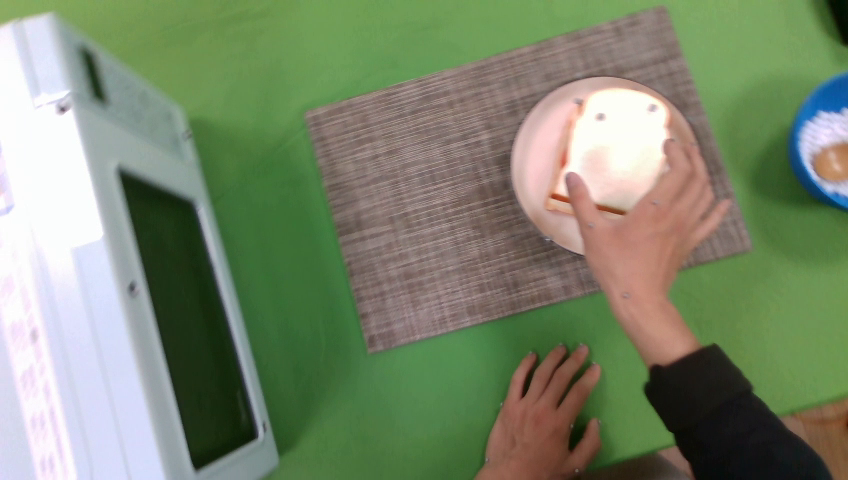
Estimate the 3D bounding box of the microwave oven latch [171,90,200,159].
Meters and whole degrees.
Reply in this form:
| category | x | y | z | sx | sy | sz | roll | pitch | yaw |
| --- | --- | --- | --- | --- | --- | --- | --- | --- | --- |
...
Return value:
| category | x | y | z | sx | sy | sz | roll | pitch | yaw |
| --- | --- | --- | --- | --- | --- | --- | --- | --- | --- |
| microwave oven latch | -0.286 | -0.130 | 0.700 | 0.030 | 0.029 | 0.079 | -17 | 84 | 1 |

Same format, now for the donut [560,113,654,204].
| category | x | y | z | sx | sy | sz | roll | pitch | yaw |
| --- | --- | --- | --- | --- | --- | --- | --- | --- | --- |
| donut | 0.197 | -0.088 | 0.653 | 0.099 | 0.048 | 0.099 | 0 | 85 | 4 |

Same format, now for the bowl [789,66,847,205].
| category | x | y | z | sx | sy | sz | roll | pitch | yaw |
| --- | --- | --- | --- | --- | --- | --- | --- | --- | --- |
| bowl | 0.458 | -0.103 | 0.651 | 0.151 | 0.077 | 0.151 | 0 | 83 | 3 |

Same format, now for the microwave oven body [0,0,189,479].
| category | x | y | z | sx | sy | sz | roll | pitch | yaw |
| --- | --- | --- | --- | --- | --- | --- | --- | --- | --- |
| microwave oven body | -0.382 | 0.070 | 0.588 | 0.326 | 0.261 | 0.440 | -17 | 84 | 1 |

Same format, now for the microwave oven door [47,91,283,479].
| category | x | y | z | sx | sy | sz | roll | pitch | yaw |
| --- | --- | --- | --- | --- | --- | --- | --- | --- | --- |
| microwave oven door | -0.230 | 0.065 | 0.574 | 0.039 | 0.244 | 0.354 | -18 | 83 | 2 |

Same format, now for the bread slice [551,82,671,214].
| category | x | y | z | sx | sy | sz | roll | pitch | yaw |
| --- | --- | --- | --- | --- | --- | --- | --- | --- | --- |
| bread slice | 0.197 | -0.100 | 0.624 | 0.104 | 0.019 | 0.131 | 14 | 81 | 11 |

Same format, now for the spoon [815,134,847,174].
| category | x | y | z | sx | sy | sz | roll | pitch | yaw |
| --- | --- | --- | --- | --- | --- | --- | --- | --- | --- |
| spoon | 0.505 | -0.115 | 0.618 | 0.193 | 0.022 | 0.041 | -21 | 77 | 23 |

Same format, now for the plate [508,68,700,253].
| category | x | y | z | sx | sy | sz | roll | pitch | yaw |
| --- | --- | --- | --- | --- | --- | --- | --- | --- | --- |
| plate | 0.198 | -0.086 | 0.681 | 0.207 | 0.039 | 0.207 | 0 | 84 | 3 |

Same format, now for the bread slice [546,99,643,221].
| category | x | y | z | sx | sy | sz | roll | pitch | yaw |
| --- | --- | --- | --- | --- | --- | --- | --- | --- | --- |
| bread slice | 0.199 | -0.094 | 0.682 | 0.107 | 0.018 | 0.134 | 9 | 84 | 4 |
